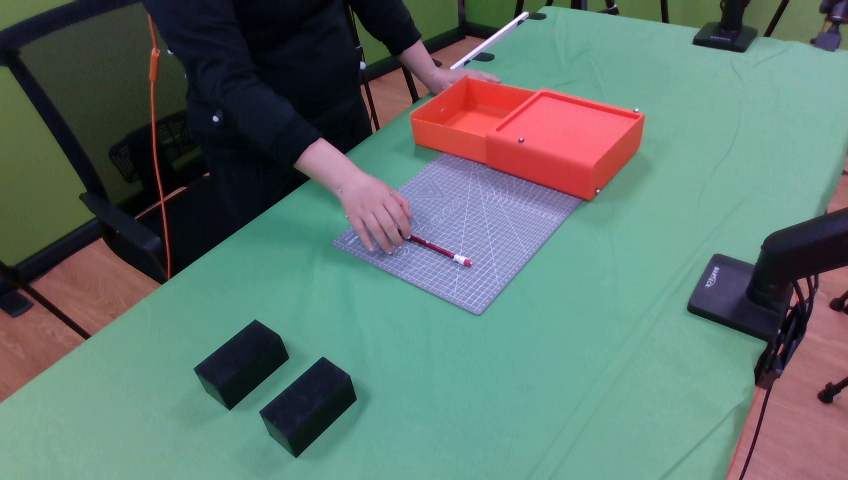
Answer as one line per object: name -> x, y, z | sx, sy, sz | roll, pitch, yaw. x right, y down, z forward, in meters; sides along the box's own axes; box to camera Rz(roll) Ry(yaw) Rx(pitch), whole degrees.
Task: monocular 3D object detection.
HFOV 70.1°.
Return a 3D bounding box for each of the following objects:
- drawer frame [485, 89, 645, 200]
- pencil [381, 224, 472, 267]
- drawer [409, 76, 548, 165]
drawer frame -> 0.253, -0.180, 1.094 | 0.212, 0.083, 0.202 | 24, 48, 31
pencil -> -0.001, 0.005, 0.970 | 0.192, 0.012, 0.012 | 24, 49, 35
drawer -> 0.113, -0.237, 1.190 | 0.210, 0.073, 0.195 | 22, 48, 33
